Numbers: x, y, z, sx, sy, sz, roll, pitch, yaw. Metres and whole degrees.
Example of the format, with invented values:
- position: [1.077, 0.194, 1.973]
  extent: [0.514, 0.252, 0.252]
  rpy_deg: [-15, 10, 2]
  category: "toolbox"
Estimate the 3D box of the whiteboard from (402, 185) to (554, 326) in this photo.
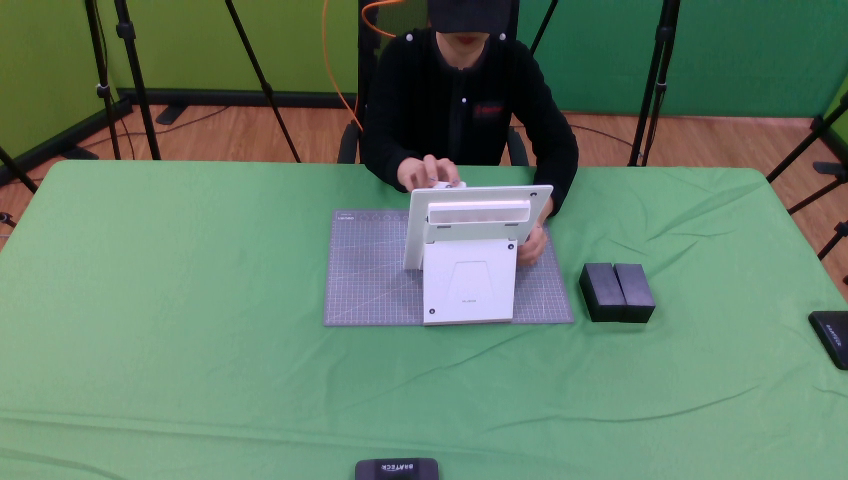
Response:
- position: [0.081, 0.044, 1.005]
  extent: [0.217, 0.306, 0.143]
  rpy_deg: [-1, 66, -5]
  category: "whiteboard"

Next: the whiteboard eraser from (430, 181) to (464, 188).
- position: [0.031, -0.055, 0.985]
  extent: [0.056, 0.113, 0.041]
  rpy_deg: [-2, 66, -8]
  category: "whiteboard eraser"
